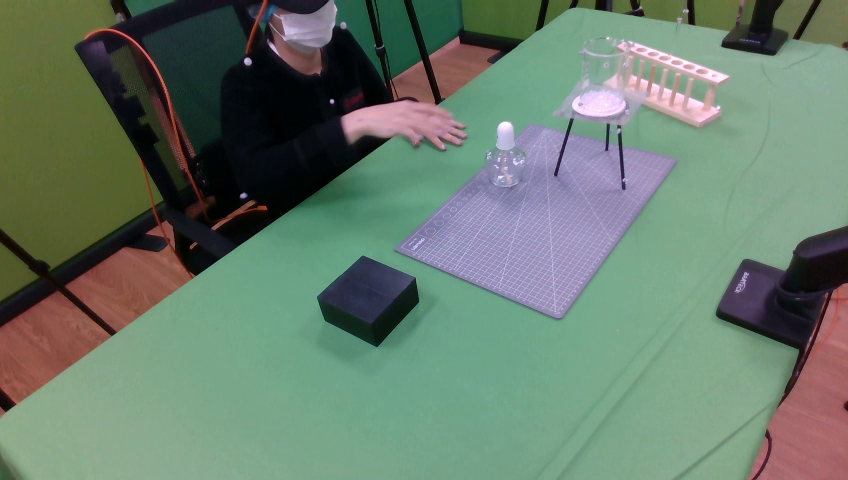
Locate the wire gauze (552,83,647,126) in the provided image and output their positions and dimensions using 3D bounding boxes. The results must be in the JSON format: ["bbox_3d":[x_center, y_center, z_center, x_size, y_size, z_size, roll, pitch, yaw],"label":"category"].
[{"bbox_3d":[0.293,-0.224,1.004,0.120,0.011,0.125,19,43,26],"label":"wire gauze"}]

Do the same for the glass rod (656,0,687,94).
[{"bbox_3d":[0.491,-0.381,1.199,0.008,0.200,0.008,1,41,0],"label":"glass rod"}]

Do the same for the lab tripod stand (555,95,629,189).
[{"bbox_3d":[0.300,-0.174,1.045,0.148,0.132,0.147,-5,38,5],"label":"lab tripod stand"}]

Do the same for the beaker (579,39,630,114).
[{"bbox_3d":[0.289,-0.263,0.975,0.073,0.101,0.084,17,45,27],"label":"beaker"}]

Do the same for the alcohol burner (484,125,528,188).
[{"bbox_3d":[0.144,-0.152,1.059,0.078,0.119,0.077,-3,41,3],"label":"alcohol burner"}]

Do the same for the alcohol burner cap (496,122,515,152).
[{"bbox_3d":[0.139,-0.179,1.037,0.034,0.048,0.033,-4,44,4],"label":"alcohol burner cap"}]

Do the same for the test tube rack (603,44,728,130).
[{"bbox_3d":[0.480,-0.316,1.227,0.067,0.085,0.240,-28,44,-22],"label":"test tube rack"}]
